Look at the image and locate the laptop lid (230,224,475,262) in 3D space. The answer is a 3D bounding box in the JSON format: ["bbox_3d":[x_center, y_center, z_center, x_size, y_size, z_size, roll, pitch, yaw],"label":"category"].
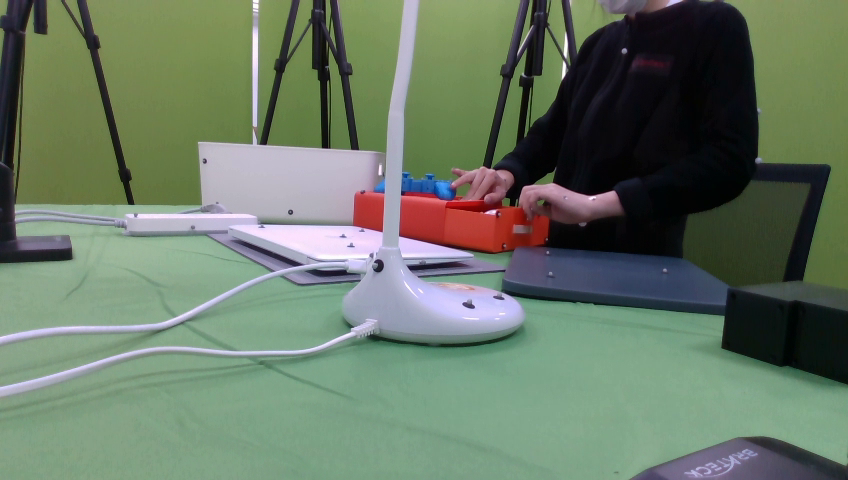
[{"bbox_3d":[-0.119,0.000,0.889,0.243,0.013,0.355,1,7,-33],"label":"laptop lid"}]

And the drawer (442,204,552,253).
[{"bbox_3d":[0.093,-0.033,1.084,0.210,0.073,0.195,9,11,37],"label":"drawer"}]

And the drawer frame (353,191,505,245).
[{"bbox_3d":[0.011,-0.047,1.143,0.212,0.082,0.203,8,9,35],"label":"drawer frame"}]

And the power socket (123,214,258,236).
[{"bbox_3d":[-0.398,-0.028,1.049,0.228,0.032,0.072,-3,8,-34],"label":"power socket"}]

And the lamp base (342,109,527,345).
[{"bbox_3d":[0.006,-0.015,0.505,0.160,0.180,0.180,6,11,29],"label":"lamp base"}]

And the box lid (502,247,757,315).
[{"bbox_3d":[0.244,0.044,0.793,0.263,0.015,0.372,4,7,10],"label":"box lid"}]

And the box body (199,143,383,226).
[{"bbox_3d":[-0.276,-0.124,1.335,0.364,0.160,0.254,3,7,1],"label":"box body"}]

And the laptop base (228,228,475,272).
[{"bbox_3d":[-0.122,0.011,0.889,0.237,0.023,0.352,2,6,-35],"label":"laptop base"}]

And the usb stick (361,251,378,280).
[{"bbox_3d":[-0.051,0.033,0.656,0.027,0.021,0.059,4,-27,-21],"label":"usb stick"}]

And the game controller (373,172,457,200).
[{"bbox_3d":[-0.011,-0.101,1.151,0.155,0.051,0.097,6,4,12],"label":"game controller"}]

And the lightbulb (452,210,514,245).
[{"bbox_3d":[0.100,-0.016,1.031,0.107,0.059,0.059,-11,6,8],"label":"lightbulb"}]

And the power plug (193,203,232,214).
[{"bbox_3d":[-0.393,-0.042,1.139,0.072,0.052,0.035,-14,2,31],"label":"power plug"}]
